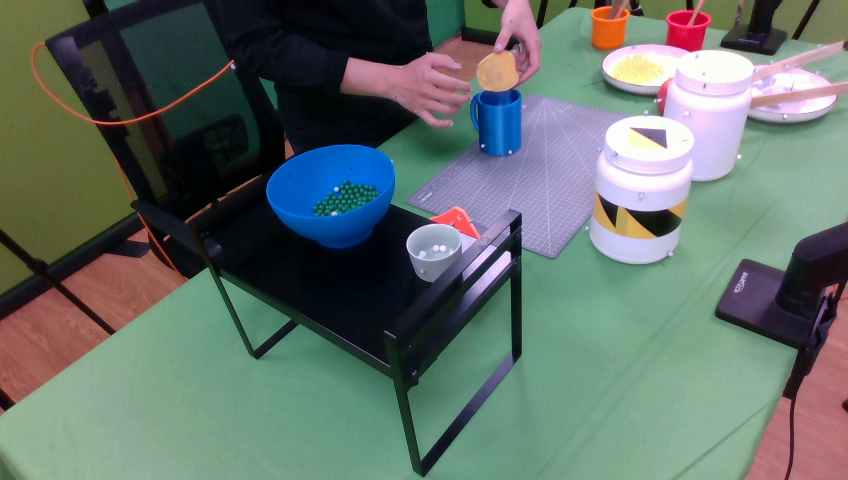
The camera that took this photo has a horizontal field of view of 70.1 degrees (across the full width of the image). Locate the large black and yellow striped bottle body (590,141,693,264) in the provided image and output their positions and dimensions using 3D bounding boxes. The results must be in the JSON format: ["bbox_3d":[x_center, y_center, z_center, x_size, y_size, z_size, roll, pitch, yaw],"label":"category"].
[{"bbox_3d":[0.317,-0.071,0.889,0.131,0.185,0.130,-4,41,4],"label":"large black and yellow striped bottle body"}]

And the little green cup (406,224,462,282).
[{"bbox_3d":[0.012,0.015,0.668,0.061,0.039,0.061,-4,40,4],"label":"little green cup"}]

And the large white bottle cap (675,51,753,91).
[{"bbox_3d":[0.463,-0.271,0.967,0.115,0.018,0.114,-4,40,3],"label":"large white bottle cap"}]

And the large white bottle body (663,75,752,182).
[{"bbox_3d":[0.472,-0.207,1.022,0.130,0.185,0.130,-4,41,4],"label":"large white bottle body"}]

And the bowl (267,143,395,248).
[{"bbox_3d":[-0.104,-0.043,0.726,0.151,0.077,0.150,-4,41,4],"label":"bowl"}]

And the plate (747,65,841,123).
[{"bbox_3d":[0.694,-0.282,1.189,0.207,0.039,0.206,-4,40,4],"label":"plate"}]

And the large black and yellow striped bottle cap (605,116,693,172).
[{"bbox_3d":[0.309,-0.134,0.833,0.115,0.019,0.114,-5,41,5],"label":"large black and yellow striped bottle cap"}]

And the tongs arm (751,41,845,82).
[{"bbox_3d":[0.708,-0.331,1.194,0.386,0.026,0.050,-19,45,-16],"label":"tongs arm"}]

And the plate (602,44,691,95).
[{"bbox_3d":[0.495,-0.367,1.317,0.209,0.038,0.208,-4,40,4],"label":"plate"}]

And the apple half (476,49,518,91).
[{"bbox_3d":[0.130,-0.309,1.089,0.081,0.081,0.032,-1,38,7],"label":"apple half"}]

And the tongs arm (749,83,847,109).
[{"bbox_3d":[0.735,-0.279,1.134,0.388,0.028,0.028,-9,47,-5],"label":"tongs arm"}]

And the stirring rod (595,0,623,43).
[{"bbox_3d":[0.460,-0.556,1.460,0.014,0.006,0.176,30,93,23],"label":"stirring rod"}]

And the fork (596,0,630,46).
[{"bbox_3d":[0.481,-0.556,1.453,0.028,0.019,0.207,40,103,40],"label":"fork"}]

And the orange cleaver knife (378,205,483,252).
[{"bbox_3d":[0.005,-0.010,0.944,0.210,0.077,0.012,-5,23,47],"label":"orange cleaver knife"}]

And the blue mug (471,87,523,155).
[{"bbox_3d":[0.135,-0.235,1.163,0.082,0.106,0.115,-36,48,-28],"label":"blue mug"}]

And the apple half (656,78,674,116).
[{"bbox_3d":[0.488,-0.281,1.192,0.053,0.075,0.081,24,54,37],"label":"apple half"}]

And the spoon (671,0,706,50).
[{"bbox_3d":[0.628,-0.520,1.394,0.041,0.022,0.193,30,96,34],"label":"spoon"}]
